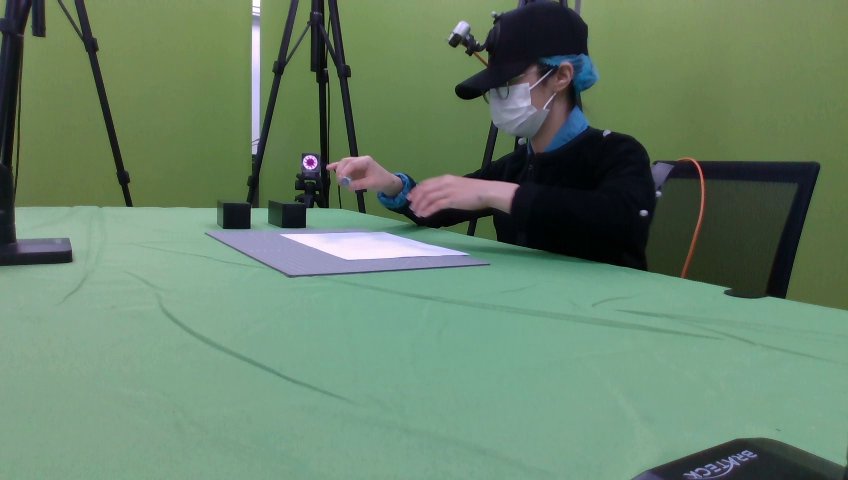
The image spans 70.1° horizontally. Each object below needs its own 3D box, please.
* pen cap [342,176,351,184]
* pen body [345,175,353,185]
[{"bbox_3d":[-0.140,-0.108,1.088,0.017,0.017,0.038,2,7,-4],"label":"pen cap"},{"bbox_3d":[-0.145,-0.114,1.149,0.017,0.017,0.144,2,6,-4],"label":"pen body"}]
